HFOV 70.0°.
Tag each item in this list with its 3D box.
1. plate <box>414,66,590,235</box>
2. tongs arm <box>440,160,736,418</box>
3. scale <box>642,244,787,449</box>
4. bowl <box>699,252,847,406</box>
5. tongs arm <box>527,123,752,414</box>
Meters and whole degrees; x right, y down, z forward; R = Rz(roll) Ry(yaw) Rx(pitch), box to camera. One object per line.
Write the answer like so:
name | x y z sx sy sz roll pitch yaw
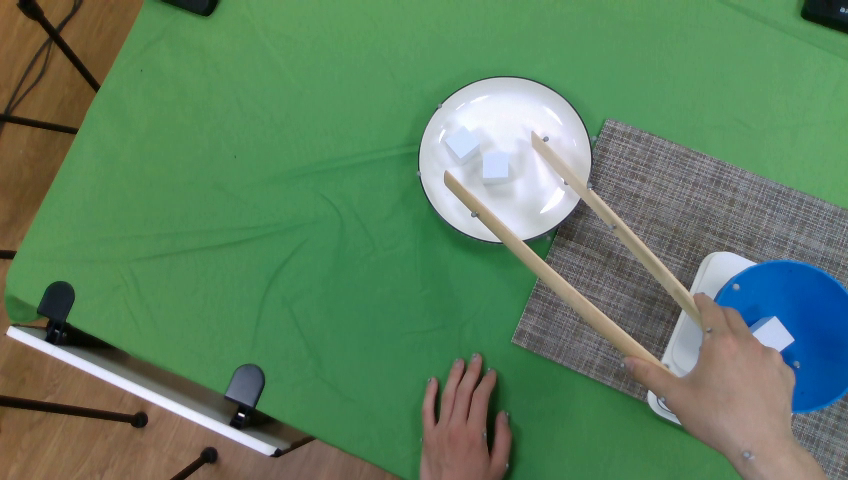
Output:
plate | 0.092 -0.106 0.734 0.207 0.039 0.207 -1 81 4
tongs arm | 0.132 0.029 0.598 0.028 0.028 0.383 -27 53 -23
scale | 0.348 0.117 0.679 0.148 0.031 0.200 24 84 8
bowl | 0.353 0.091 0.630 0.151 0.077 0.151 0 82 4
tongs arm | 0.191 0.002 0.615 0.051 0.027 0.380 -22 52 -15
